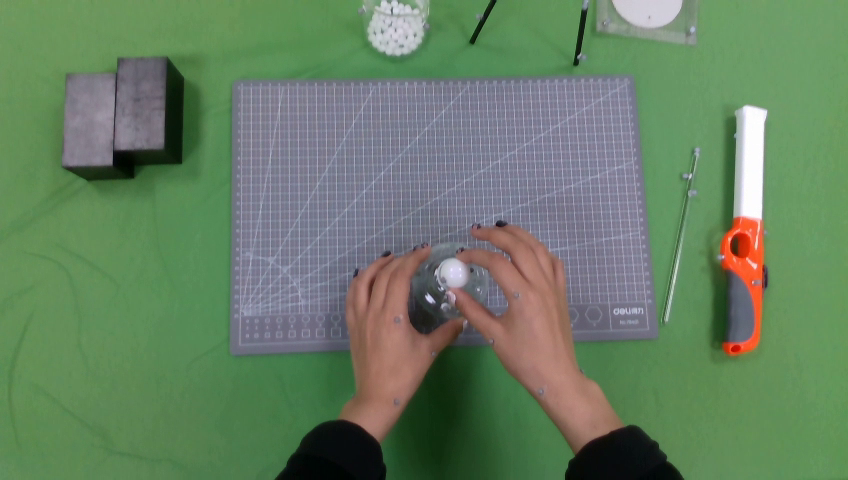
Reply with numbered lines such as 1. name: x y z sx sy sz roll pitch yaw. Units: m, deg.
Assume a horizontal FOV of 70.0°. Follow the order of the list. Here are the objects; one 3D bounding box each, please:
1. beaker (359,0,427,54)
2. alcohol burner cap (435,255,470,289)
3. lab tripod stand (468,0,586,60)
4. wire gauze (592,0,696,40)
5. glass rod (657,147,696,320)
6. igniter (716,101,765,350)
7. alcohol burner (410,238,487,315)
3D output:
1. beaker: -0.031 -0.248 0.641 0.084 0.100 0.074 44 82 3
2. alcohol burner cap: 0.027 0.029 0.556 0.034 0.048 0.034 0 86 1
3. lab tripod stand: 0.120 -0.268 0.634 0.148 0.132 0.148 0 80 -1
4. wire gauze: 0.257 -0.297 0.709 0.125 0.011 0.121 5 81 0
5. glass rod: 0.278 -0.009 0.668 0.008 0.008 0.199 15 81 -1
6. igniter: 0.348 -0.017 0.662 0.057 0.025 0.275 9 81 -12
7. alcohol burner: 0.025 0.033 0.592 0.078 0.119 0.077 1 79 -3
